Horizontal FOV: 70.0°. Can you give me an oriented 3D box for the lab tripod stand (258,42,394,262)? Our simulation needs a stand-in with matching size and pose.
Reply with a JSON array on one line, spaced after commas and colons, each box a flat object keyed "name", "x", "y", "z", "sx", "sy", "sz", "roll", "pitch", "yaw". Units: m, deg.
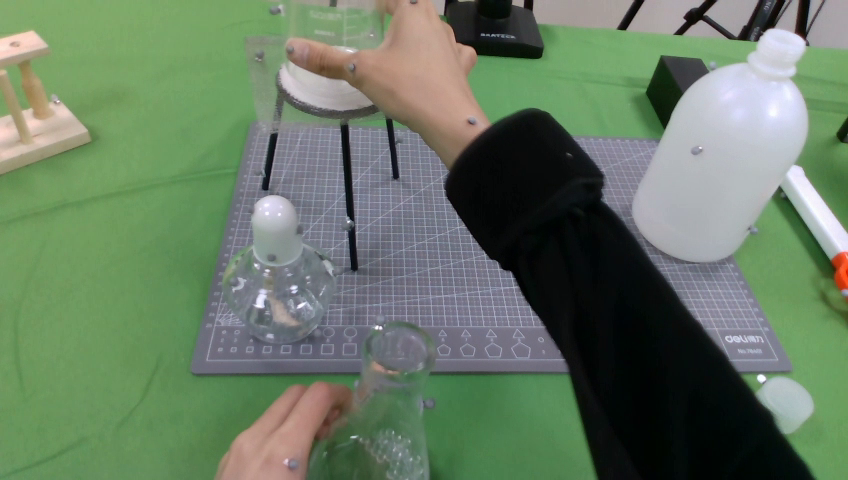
[{"name": "lab tripod stand", "x": -0.072, "y": -0.077, "z": 0.493, "sx": 0.148, "sy": 0.132, "sz": 0.147, "roll": 5, "pitch": 47, "yaw": -5}]

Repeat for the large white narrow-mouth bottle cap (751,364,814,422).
[{"name": "large white narrow-mouth bottle cap", "x": 0.262, "y": 0.112, "z": 0.443, "sx": 0.038, "sy": 0.024, "sz": 0.037, "roll": 4, "pitch": 46, "yaw": -3}]

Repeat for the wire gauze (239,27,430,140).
[{"name": "wire gauze", "x": -0.069, "y": -0.124, "z": 0.448, "sx": 0.122, "sy": 0.011, "sz": 0.123, "roll": -10, "pitch": 52, "yaw": -15}]

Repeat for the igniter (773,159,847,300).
[{"name": "igniter", "x": 0.380, "y": 0.019, "z": 0.544, "sx": 0.057, "sy": 0.025, "sz": 0.273, "roll": 10, "pitch": 45, "yaw": -13}]

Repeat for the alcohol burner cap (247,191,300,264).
[{"name": "alcohol burner cap", "x": -0.098, "y": -0.010, "z": 0.389, "sx": 0.034, "sy": 0.048, "sz": 0.033, "roll": 4, "pitch": 51, "yaw": -4}]

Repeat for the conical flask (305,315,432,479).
[{"name": "conical flask", "x": -0.025, "y": 0.098, "z": 0.340, "sx": 0.075, "sy": 0.123, "sz": 0.074, "roll": 9, "pitch": 37, "yaw": -6}]

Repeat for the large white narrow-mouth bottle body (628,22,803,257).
[{"name": "large white narrow-mouth bottle body", "x": 0.246, "y": -0.082, "z": 0.501, "sx": 0.102, "sy": 0.196, "sz": 0.101, "roll": 4, "pitch": 46, "yaw": -3}]

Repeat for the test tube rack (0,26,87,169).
[{"name": "test tube rack", "x": -0.423, "y": -0.089, "z": 0.493, "sx": 0.242, "sy": 0.086, "sz": 0.066, "roll": -32, "pitch": 58, "yaw": -32}]

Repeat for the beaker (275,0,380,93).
[{"name": "beaker", "x": -0.068, "y": -0.160, "z": 0.413, "sx": 0.084, "sy": 0.101, "sz": 0.073, "roll": -3, "pitch": 48, "yaw": -11}]

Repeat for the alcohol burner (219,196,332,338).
[{"name": "alcohol burner", "x": -0.102, "y": 0.014, "z": 0.416, "sx": 0.078, "sy": 0.120, "sz": 0.077, "roll": 5, "pitch": 45, "yaw": -5}]
